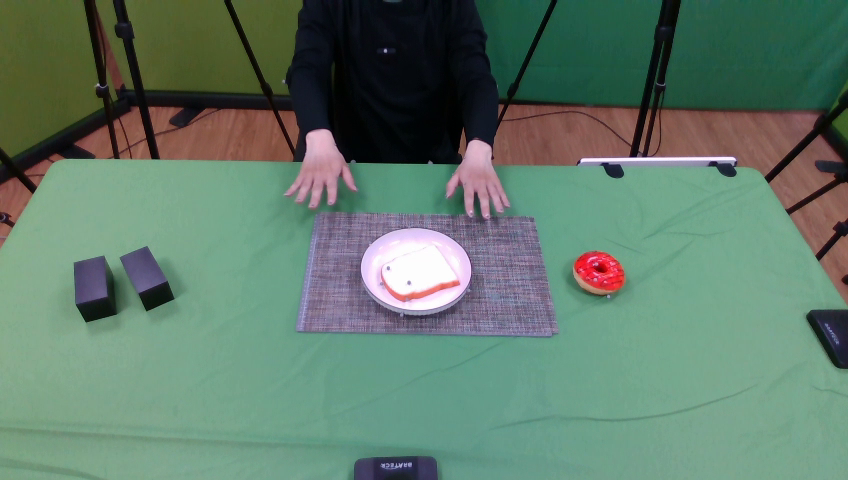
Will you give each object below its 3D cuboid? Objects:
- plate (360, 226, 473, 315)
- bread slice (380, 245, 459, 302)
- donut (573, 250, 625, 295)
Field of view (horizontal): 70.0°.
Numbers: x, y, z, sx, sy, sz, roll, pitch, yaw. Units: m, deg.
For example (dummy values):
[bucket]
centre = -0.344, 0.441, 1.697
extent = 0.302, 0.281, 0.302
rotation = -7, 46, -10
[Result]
[plate]
centre = -0.013, 0.059, 1.124
extent = 0.208, 0.039, 0.206
rotation = 2, 46, -2
[bread slice]
centre = -0.014, 0.063, 1.122
extent = 0.132, 0.019, 0.104
rotation = -18, 49, -21
[donut]
centre = 0.332, 0.062, 1.149
extent = 0.099, 0.048, 0.098
rotation = 4, 45, -4
